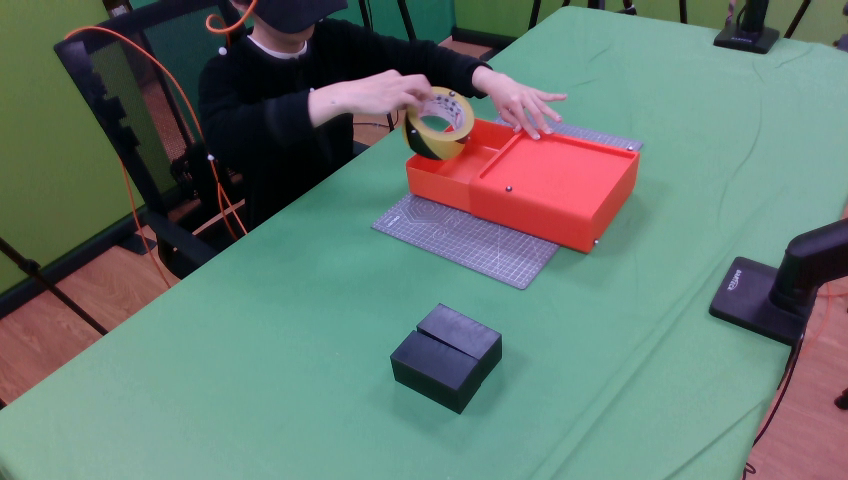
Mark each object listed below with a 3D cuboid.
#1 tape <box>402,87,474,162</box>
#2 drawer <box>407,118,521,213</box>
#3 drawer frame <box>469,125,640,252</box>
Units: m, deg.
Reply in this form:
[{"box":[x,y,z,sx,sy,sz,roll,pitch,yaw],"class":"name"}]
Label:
[{"box":[0.022,-0.186,0.976,0.117,0.052,0.116,5,60,-9],"class":"tape"},{"box":[0.111,-0.131,1.066,0.210,0.073,0.195,21,47,29],"class":"drawer"},{"box":[0.216,-0.093,1.003,0.212,0.083,0.202,20,47,28],"class":"drawer frame"}]
